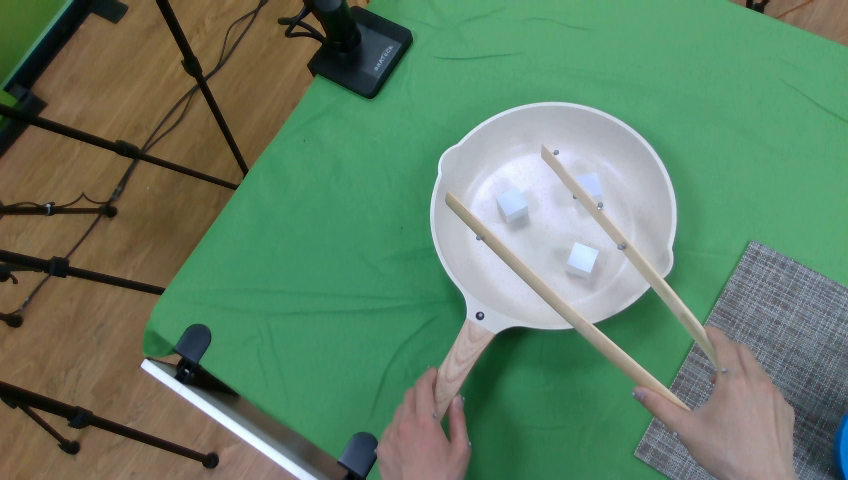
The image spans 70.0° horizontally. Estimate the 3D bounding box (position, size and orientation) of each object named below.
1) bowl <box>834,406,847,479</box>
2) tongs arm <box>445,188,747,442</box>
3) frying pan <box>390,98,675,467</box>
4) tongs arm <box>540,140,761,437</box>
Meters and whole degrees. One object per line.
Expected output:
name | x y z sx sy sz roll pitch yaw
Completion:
bowl | 0.493 0.222 0.624 0.151 0.077 0.150 -2 73 8
tongs arm | 0.150 0.062 0.623 0.028 0.028 0.384 -33 59 -24
frying pan | 0.098 0.048 0.726 0.305 0.103 0.486 29 71 16
tongs arm | 0.215 0.028 0.643 0.051 0.027 0.380 -24 57 -15
